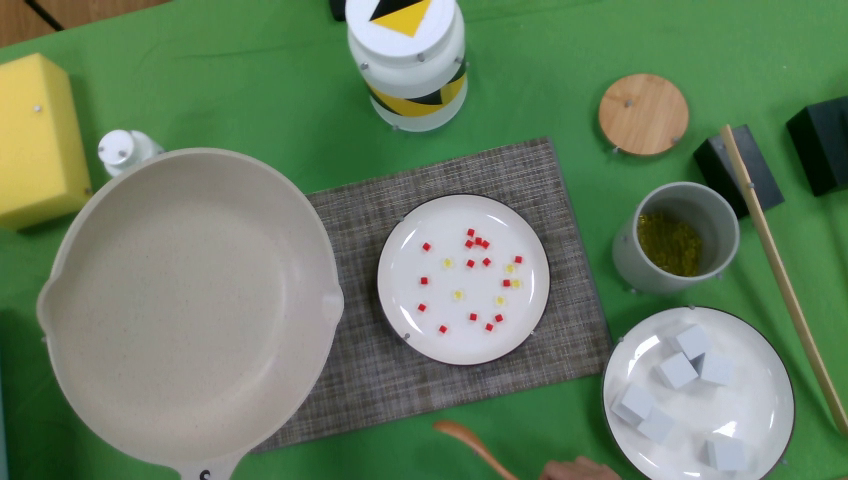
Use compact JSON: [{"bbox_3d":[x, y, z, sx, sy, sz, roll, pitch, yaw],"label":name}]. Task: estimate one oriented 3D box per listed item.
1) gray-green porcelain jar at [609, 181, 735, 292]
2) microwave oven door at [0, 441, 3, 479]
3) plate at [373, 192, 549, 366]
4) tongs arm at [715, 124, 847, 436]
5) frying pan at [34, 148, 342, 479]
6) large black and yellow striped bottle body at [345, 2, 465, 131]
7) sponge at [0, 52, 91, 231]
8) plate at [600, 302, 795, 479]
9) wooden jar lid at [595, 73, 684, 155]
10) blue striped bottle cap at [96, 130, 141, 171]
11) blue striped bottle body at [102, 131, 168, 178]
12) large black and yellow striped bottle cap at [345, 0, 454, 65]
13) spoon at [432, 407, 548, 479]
[{"bbox_3d":[0.268,0.002,0.677,0.106,0.127,0.105,-1,78,5],"label":"gray-green porcelain jar"},{"bbox_3d":[-0.523,0.298,0.606,0.039,0.245,0.354,-14,78,2],"label":"microwave oven door"},{"bbox_3d":[0.043,0.046,0.729,0.209,0.038,0.208,-1,79,5],"label":"plate"},{"bbox_3d":[0.415,0.045,0.674,0.051,0.026,0.384,-19,88,-1],"label":"tongs arm"},{"bbox_3d":[-0.207,0.163,0.567,0.102,0.309,0.486,-10,79,39],"label":"frying pan"},{"bbox_3d":[-0.019,-0.222,0.716,0.130,0.185,0.130,-1,78,5],"label":"large black and yellow striped bottle body"},{"bbox_3d":[-0.531,-0.129,0.801,0.118,0.061,0.206,-19,78,1],"label":"sponge"},{"bbox_3d":[0.303,0.175,0.686,0.207,0.039,0.206,-1,79,5],"label":"plate"},{"bbox_3d":[0.270,-0.157,0.763,0.108,0.021,0.108,-1,80,5],"label":"wooden jar lid"},{"bbox_3d":[-0.353,-0.104,0.699,0.044,0.021,0.044,-1,81,4],"label":"blue striped bottle cap"},{"bbox_3d":[-0.348,-0.093,0.749,0.063,0.121,0.063,-1,78,5],"label":"blue striped bottle body"},{"bbox_3d":[-0.026,-0.240,0.634,0.115,0.019,0.114,-1,80,5],"label":"large black and yellow striped bottle cap"},{"bbox_3d":[0.093,0.236,0.646,0.192,0.022,0.042,29,116,22],"label":"spoon"}]
